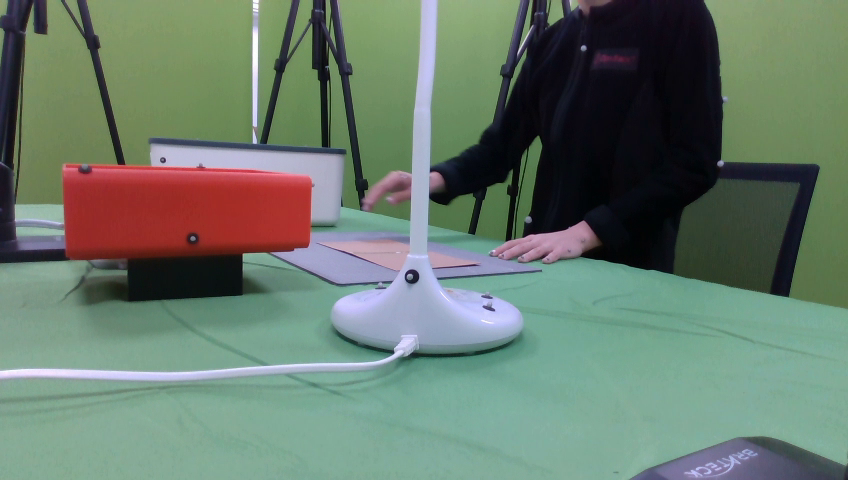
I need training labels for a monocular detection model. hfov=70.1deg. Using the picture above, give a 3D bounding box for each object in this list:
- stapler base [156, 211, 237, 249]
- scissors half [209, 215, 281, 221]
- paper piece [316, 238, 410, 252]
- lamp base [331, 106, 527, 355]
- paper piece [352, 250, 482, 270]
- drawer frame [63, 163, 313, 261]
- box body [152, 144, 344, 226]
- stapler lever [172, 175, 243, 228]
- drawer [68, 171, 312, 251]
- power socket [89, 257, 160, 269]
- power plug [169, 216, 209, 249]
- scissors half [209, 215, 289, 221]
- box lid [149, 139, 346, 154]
[{"bbox_3d":[-0.227,-0.017,0.624,0.041,0.024,0.130,19,9,-2],"label":"stapler base"},{"bbox_3d":[-0.364,-0.044,1.215,0.174,0.013,0.040,1,3,26],"label":"scissors half"},{"bbox_3d":[-0.083,0.008,0.952,0.136,0.004,0.134,-2,8,-32],"label":"paper piece"},{"bbox_3d":[0.006,-0.012,0.478,0.161,0.180,0.179,2,10,2],"label":"lamp base"},{"bbox_3d":[-0.013,0.026,0.842,0.139,0.008,0.135,0,11,-32],"label":"paper piece"},{"bbox_3d":[-0.248,-0.036,0.626,0.215,0.082,0.200,-3,9,-31],"label":"drawer frame"},{"bbox_3d":[-0.370,-0.119,1.264,0.366,0.160,0.253,-1,8,-24],"label":"box body"},{"bbox_3d":[-0.217,-0.041,0.618,0.027,0.040,0.118,19,11,-2],"label":"stapler lever"},{"bbox_3d":[-0.247,-0.036,0.629,0.213,0.073,0.193,-3,9,-30],"label":"drawer"},{"bbox_3d":[-0.409,0.004,0.793,0.072,0.032,0.225,-2,8,-38],"label":"power socket"},{"bbox_3d":[-0.343,-0.007,0.889,0.035,0.052,0.072,-8,-7,-41],"label":"power plug"},{"bbox_3d":[-0.358,-0.044,1.235,0.175,0.013,0.040,1,-2,8],"label":"scissors half"},{"bbox_3d":[-0.365,-0.191,1.255,0.373,0.015,0.262,-1,8,-24],"label":"box lid"}]
